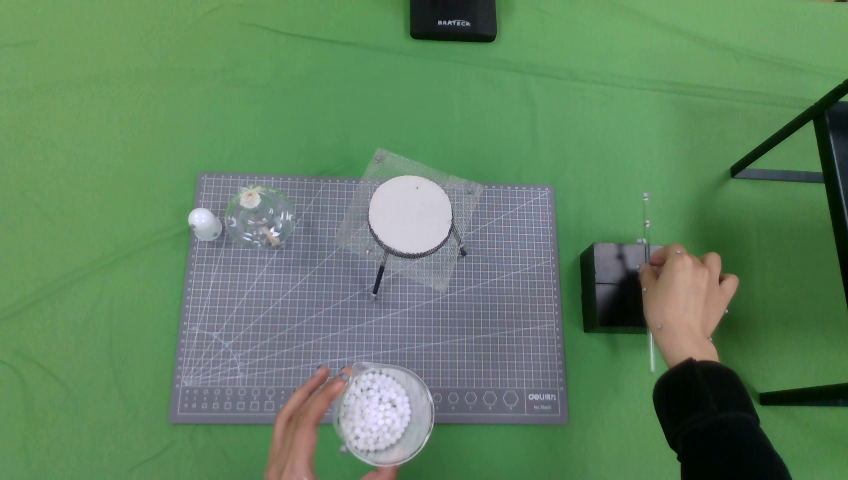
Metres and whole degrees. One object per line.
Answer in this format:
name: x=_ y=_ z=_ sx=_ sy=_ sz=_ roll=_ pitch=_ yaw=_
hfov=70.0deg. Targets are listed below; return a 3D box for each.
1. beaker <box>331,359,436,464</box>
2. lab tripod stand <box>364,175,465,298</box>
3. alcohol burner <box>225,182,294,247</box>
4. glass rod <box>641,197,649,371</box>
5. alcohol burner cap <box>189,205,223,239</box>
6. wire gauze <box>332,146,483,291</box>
beaker: x=-0.041 y=0.139 z=0.502 sx=0.074 sy=0.100 sz=0.084 roll=-31 pitch=83 yaw=-19
lab tripod stand: x=-0.017 y=-0.008 z=0.683 sx=0.148 sy=0.132 sz=0.147 roll=2 pitch=72 yaw=-6
alcohol burner: x=-0.188 y=-0.034 z=0.684 sx=0.078 sy=0.119 sz=0.077 roll=2 pitch=73 yaw=-6
glass rod: x=0.253 y=0.050 z=0.693 sx=0.008 sy=0.008 sz=0.199 roll=0 pitch=88 yaw=-5
alcohol burner cap: x=-0.258 y=-0.023 z=0.711 sx=0.034 sy=0.048 sz=0.033 roll=1 pitch=72 yaw=-4
wire gauze: x=-0.015 y=-0.026 z=0.618 sx=0.125 sy=0.011 sz=0.121 roll=23 pitch=73 yaw=1
